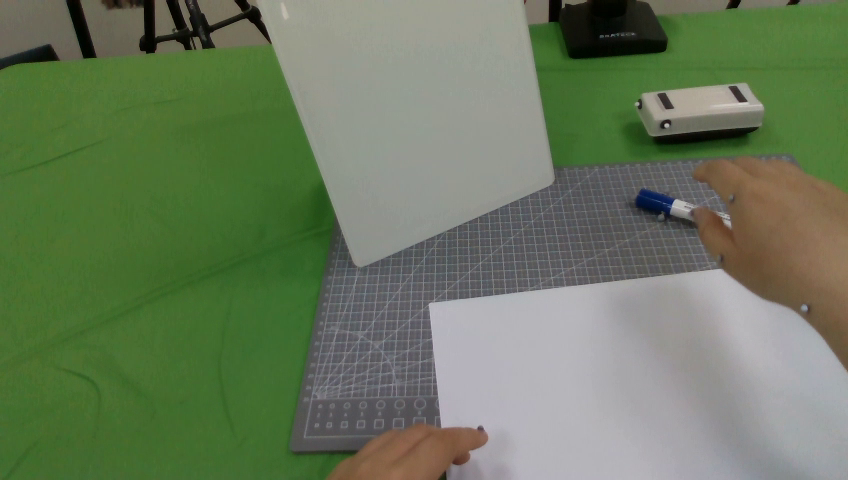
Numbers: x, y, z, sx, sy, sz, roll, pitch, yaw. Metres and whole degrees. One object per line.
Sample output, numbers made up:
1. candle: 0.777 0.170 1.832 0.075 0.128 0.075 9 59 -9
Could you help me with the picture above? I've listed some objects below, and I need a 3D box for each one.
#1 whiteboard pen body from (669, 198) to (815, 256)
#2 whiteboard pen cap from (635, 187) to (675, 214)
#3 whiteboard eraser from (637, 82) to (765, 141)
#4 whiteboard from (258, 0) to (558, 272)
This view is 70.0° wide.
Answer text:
1. whiteboard pen body: 0.258 -0.016 0.524 0.139 0.017 0.017 22 52 27
2. whiteboard pen cap: 0.211 -0.035 0.551 0.033 0.018 0.018 25 54 28
3. whiteboard eraser: 0.283 -0.131 0.623 0.112 0.042 0.055 -5 48 2
4. whiteboard: -0.028 -0.167 0.556 0.217 0.308 0.142 -23 27 -14
